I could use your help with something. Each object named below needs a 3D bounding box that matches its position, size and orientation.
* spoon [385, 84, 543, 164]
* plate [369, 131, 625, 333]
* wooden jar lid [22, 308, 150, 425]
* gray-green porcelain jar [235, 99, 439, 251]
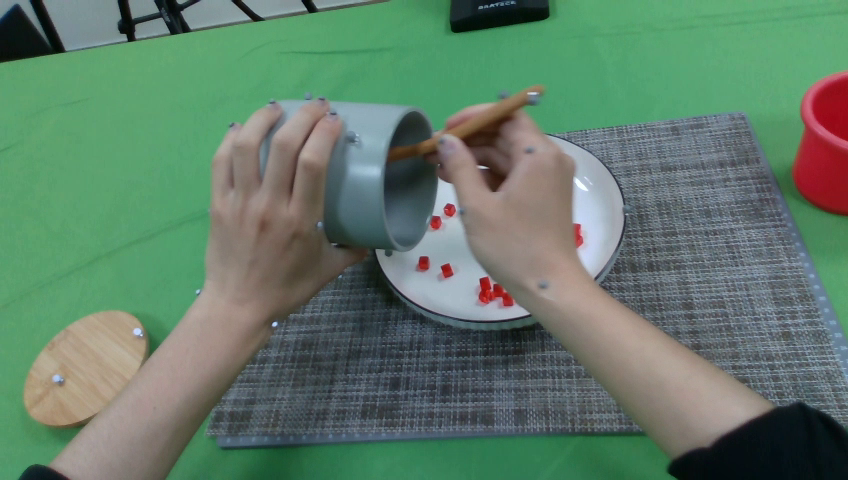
[{"bbox_3d":[0.000,-0.066,0.410,0.193,0.022,0.041,-13,25,40],"label":"spoon"},{"bbox_3d":[0.058,-0.008,0.506,0.207,0.039,0.205,-7,50,9],"label":"plate"},{"bbox_3d":[-0.283,0.107,0.515,0.108,0.021,0.107,-6,51,8],"label":"wooden jar lid"},{"bbox_3d":[-0.066,-0.051,0.454,0.126,0.107,0.105,8,54,20],"label":"gray-green porcelain jar"}]
